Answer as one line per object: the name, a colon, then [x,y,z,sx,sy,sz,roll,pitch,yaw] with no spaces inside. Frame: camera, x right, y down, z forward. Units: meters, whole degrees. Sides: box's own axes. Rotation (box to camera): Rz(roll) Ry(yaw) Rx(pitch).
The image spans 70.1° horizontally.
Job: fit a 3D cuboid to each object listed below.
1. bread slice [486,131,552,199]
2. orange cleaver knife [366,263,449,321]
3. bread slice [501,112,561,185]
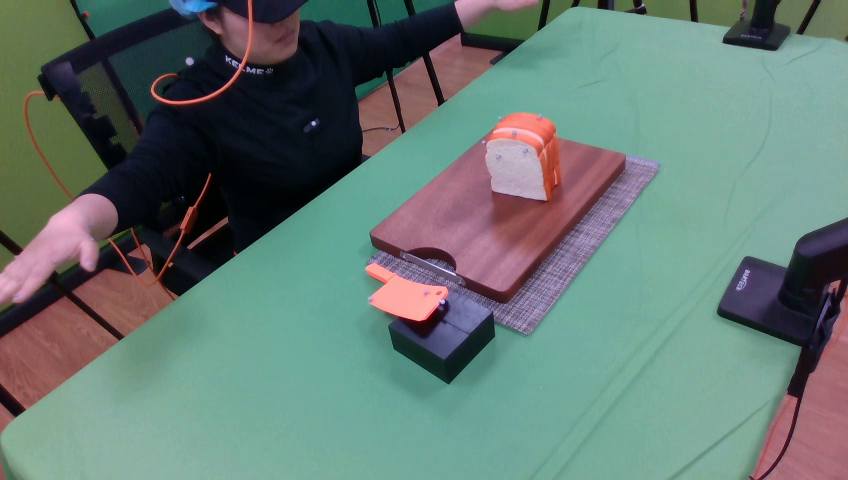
bread slice: [0.149,-0.119,0.973,0.104,0.132,0.019,11,54,27]
orange cleaver knife: [-0.042,0.072,0.870,0.077,0.012,0.209,-37,28,-23]
bread slice: [0.176,-0.150,1.002,0.106,0.135,0.018,16,52,23]
